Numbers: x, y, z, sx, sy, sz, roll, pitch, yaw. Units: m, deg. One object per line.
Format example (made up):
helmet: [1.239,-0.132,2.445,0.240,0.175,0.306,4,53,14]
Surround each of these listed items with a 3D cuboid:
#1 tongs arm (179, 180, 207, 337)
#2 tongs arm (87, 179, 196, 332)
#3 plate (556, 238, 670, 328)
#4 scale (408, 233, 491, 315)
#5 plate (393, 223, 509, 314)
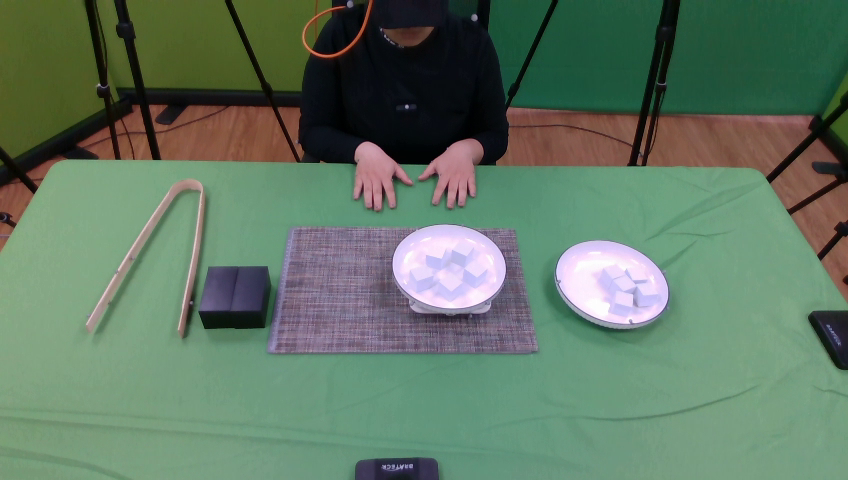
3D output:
tongs arm: [-0.437,0.019,1.144,0.028,0.028,0.385,-6,47,-7]
tongs arm: [-0.518,0.014,1.137,0.051,0.026,0.382,6,45,0]
plate: [0.347,0.083,1.130,0.209,0.038,0.208,2,47,-2]
scale: [0.045,0.055,1.135,0.149,0.032,0.199,1,46,-3]
plate: [0.048,0.053,1.091,0.208,0.039,0.206,1,46,-1]
